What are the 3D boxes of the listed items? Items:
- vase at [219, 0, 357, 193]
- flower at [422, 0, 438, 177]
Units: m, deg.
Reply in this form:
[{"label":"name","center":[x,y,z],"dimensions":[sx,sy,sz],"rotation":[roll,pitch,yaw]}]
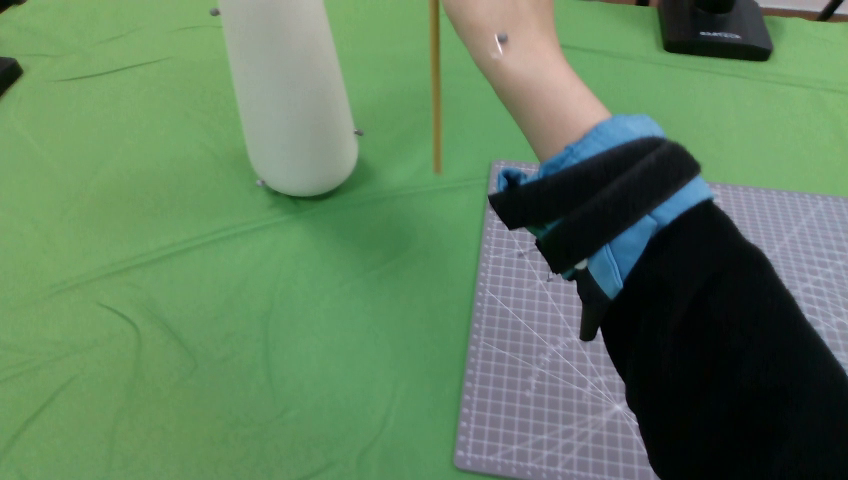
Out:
[{"label":"vase","center":[-0.110,-0.133,0.503],"dimensions":[0.098,0.202,0.097],"rotation":[1,50,0]},{"label":"flower","center":[0.001,-0.197,0.306],"dimensions":[0.044,0.364,0.038],"rotation":[7,33,14]}]
